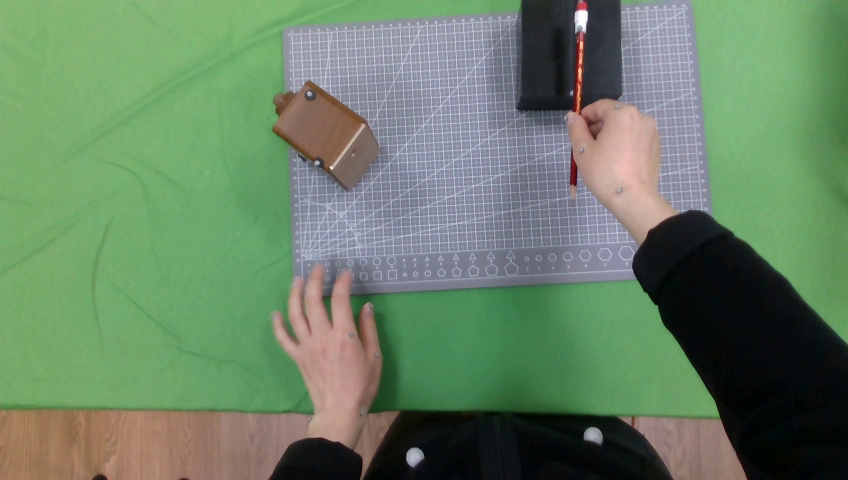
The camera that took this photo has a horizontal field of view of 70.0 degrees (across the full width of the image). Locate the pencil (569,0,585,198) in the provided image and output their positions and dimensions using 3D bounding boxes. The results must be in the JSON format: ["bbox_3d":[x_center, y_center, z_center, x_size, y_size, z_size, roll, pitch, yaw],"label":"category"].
[{"bbox_3d":[0.147,-0.138,0.585,0.012,0.012,0.194,2,92,3],"label":"pencil"}]

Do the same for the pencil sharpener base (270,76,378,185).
[{"bbox_3d":[-0.099,-0.107,0.609,0.076,0.107,0.061,36,88,5],"label":"pencil sharpener base"}]

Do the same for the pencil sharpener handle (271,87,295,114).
[{"bbox_3d":[-0.139,-0.140,0.600,0.030,0.068,0.036,36,96,5],"label":"pencil sharpener handle"}]
